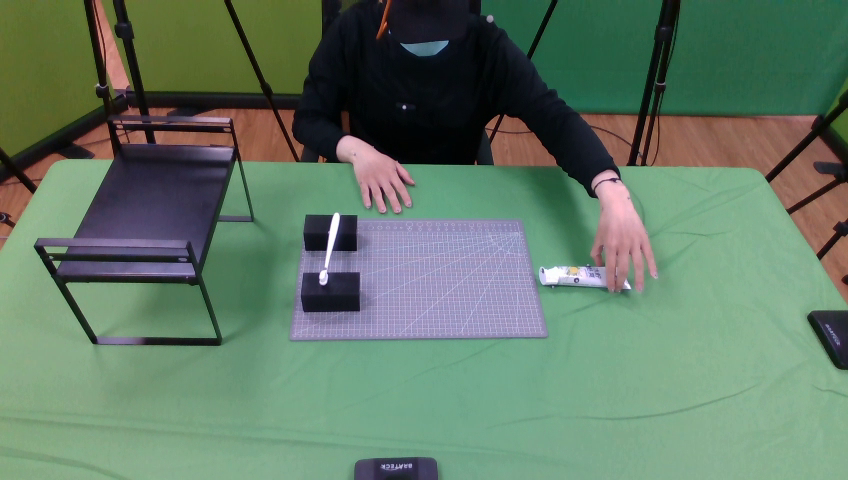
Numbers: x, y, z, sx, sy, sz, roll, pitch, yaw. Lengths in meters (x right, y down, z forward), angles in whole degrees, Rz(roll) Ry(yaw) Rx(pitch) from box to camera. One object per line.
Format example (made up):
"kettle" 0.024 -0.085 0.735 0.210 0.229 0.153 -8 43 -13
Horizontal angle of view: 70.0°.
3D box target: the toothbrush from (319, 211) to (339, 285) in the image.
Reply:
"toothbrush" -0.172 0.009 1.103 0.014 0.017 0.180 -6 44 9

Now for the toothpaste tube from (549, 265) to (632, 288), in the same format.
"toothpaste tube" 0.309 0.068 1.147 0.165 0.034 0.054 0 53 -9

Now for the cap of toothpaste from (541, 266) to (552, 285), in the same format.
"cap of toothpaste" 0.230 0.065 1.135 0.011 0.037 0.037 -6 47 -11
